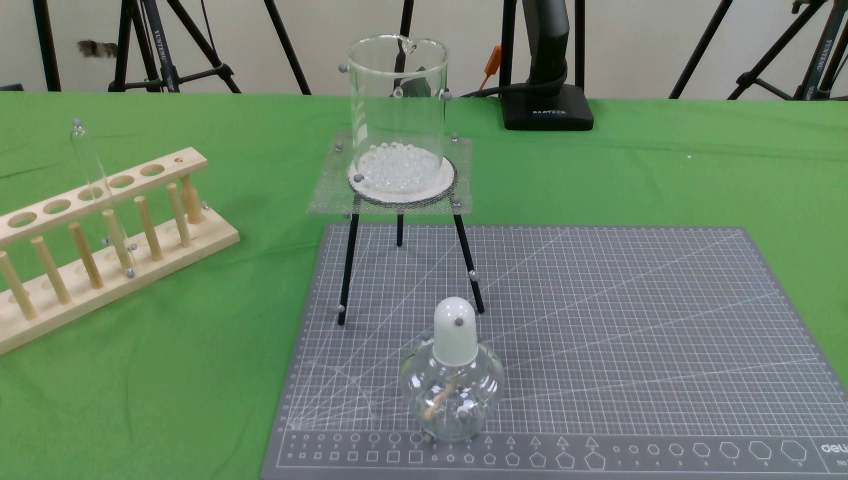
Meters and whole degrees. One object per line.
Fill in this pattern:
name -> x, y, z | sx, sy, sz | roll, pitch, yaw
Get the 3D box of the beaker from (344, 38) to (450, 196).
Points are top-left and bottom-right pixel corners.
beaker -> -0.019, -0.092, 0.457 | 0.074, 0.101, 0.083 | 8, 39, 7

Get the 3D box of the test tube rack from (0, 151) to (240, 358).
test tube rack -> -0.302, 0.007, 0.559 | 0.242, 0.086, 0.066 | -30, 47, -32

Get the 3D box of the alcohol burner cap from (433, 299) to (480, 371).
alcohol burner cap -> 0.022, 0.061, 0.408 | 0.034, 0.048, 0.033 | -2, 38, 2

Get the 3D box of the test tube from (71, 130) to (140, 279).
test tube -> -0.277, -0.027, 0.530 | 0.017, 0.151, 0.017 | 1, 37, 0

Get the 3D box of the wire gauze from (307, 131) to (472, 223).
wire gauze -> -0.022, -0.053, 0.486 | 0.121, 0.011, 0.124 | 2, 41, 2

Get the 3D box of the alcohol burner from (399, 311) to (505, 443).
alcohol burner -> 0.020, 0.089, 0.430 | 0.078, 0.120, 0.077 | 1, 40, 0

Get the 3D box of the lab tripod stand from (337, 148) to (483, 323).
lab tripod stand -> -0.014, -0.002, 0.529 | 0.148, 0.132, 0.147 | 1, 38, -1
